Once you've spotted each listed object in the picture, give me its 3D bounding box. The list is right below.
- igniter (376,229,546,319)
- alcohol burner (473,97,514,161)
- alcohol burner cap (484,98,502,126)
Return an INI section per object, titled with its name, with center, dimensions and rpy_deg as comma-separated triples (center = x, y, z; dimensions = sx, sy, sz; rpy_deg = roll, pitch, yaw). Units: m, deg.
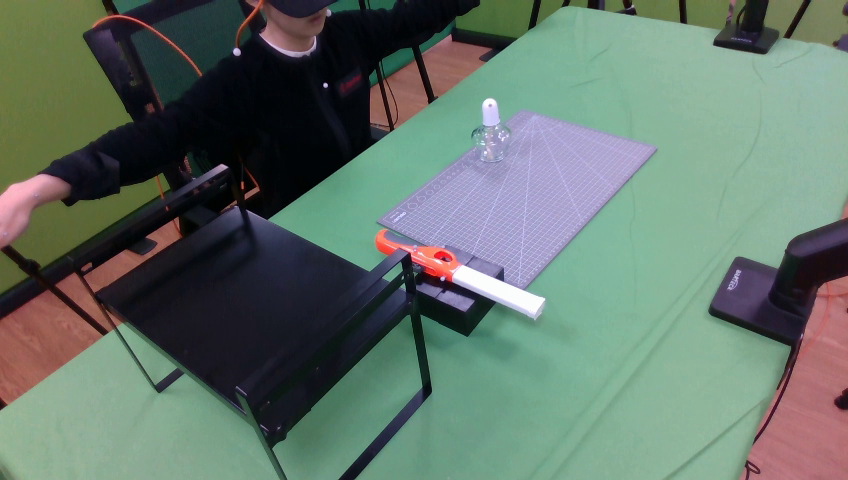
[igniter]
center = 0.040, 0.042, 0.845
dimensions = 0.274, 0.025, 0.057
rpy_deg = 23, 46, 27
[alcohol burner]
center = 0.127, -0.208, 1.123
dimensions = 0.078, 0.119, 0.077
rpy_deg = -5, 39, 5
[alcohol burner cap]
center = 0.124, -0.236, 1.101
dimensions = 0.034, 0.048, 0.033
rpy_deg = -7, 38, 6
